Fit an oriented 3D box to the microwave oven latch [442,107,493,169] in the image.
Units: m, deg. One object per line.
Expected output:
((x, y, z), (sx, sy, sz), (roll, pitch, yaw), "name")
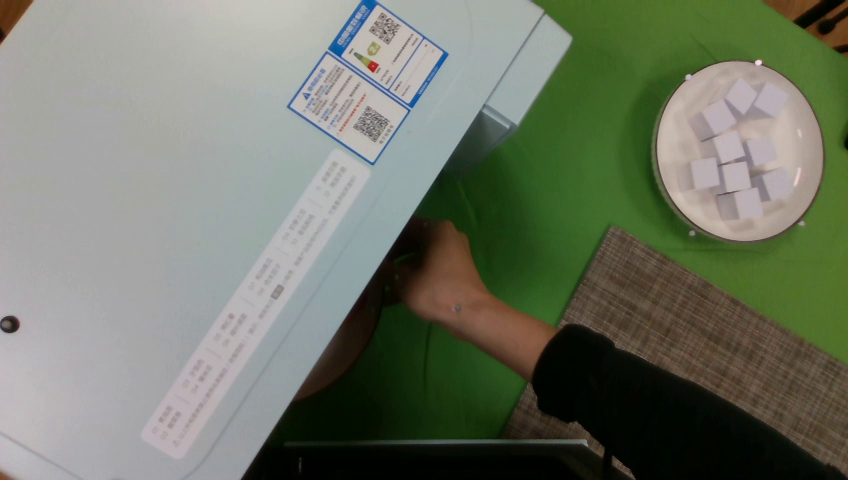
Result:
((0.040, -0.114, 0.630), (0.030, 0.029, 0.079), (35, 84, -6), "microwave oven latch")

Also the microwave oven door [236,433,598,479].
((0.011, 0.214, 0.513), (0.357, 0.243, 0.039), (2, 87, -8), "microwave oven door")

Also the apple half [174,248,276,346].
((-0.171, 0.051, 0.511), (0.081, 0.053, 0.074), (42, 90, -7), "apple half")

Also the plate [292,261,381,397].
((-0.143, 0.036, 0.530), (0.209, 0.038, 0.209), (1, 87, -9), "plate")

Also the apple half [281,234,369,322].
((-0.092, 0.038, 0.531), (0.081, 0.033, 0.081), (0, 96, 2), "apple half")

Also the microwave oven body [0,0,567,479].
((-0.165, -0.050, 0.500), (0.327, 0.260, 0.441), (33, 84, -6), "microwave oven body")

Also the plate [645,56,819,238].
((0.348, -0.104, 0.695), (0.208, 0.039, 0.207), (0, 88, -8), "plate")
